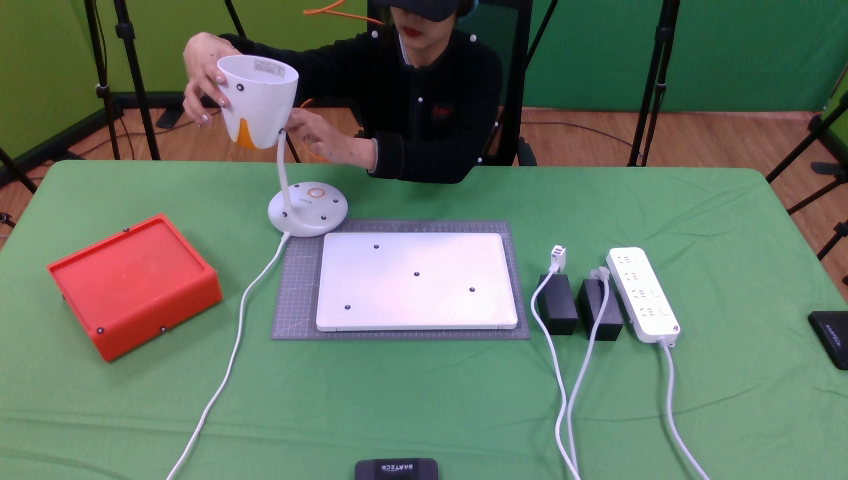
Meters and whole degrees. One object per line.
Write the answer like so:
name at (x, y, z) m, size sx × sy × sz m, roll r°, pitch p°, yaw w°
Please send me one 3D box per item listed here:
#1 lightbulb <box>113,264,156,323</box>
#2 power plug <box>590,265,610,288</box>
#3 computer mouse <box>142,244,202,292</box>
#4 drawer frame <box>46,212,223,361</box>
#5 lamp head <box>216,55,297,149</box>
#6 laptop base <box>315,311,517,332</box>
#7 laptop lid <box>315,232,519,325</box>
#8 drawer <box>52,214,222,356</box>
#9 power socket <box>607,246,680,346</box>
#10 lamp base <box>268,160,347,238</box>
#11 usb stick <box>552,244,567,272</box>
lightbulb at (-0.493, 0.091, 1.045) m, size 0.059 × 0.060 × 0.107 m, roll 9°, pitch 62°, yaw 5°
power plug at (0.318, 0.073, 1.108) m, size 0.035 × 0.053 × 0.072 m, roll 25°, pitch 34°, yaw 13°
computer mouse at (-0.459, 0.045, 1.099) m, size 0.116 × 0.041 × 0.063 m, roll 30°, pitch 52°, yaw 29°
drawer frame at (-0.495, 0.073, 1.049) m, size 0.213 × 0.083 × 0.200 m, roll -33°, pitch 56°, yaw -29°
lamp head at (-0.248, -0.200, 0.894) m, size 0.112 × 0.123 × 0.112 m, roll 10°, pitch 36°, yaw -7°
laptop base at (-0.016, 0.075, 1.125) m, size 0.355 × 0.023 × 0.234 m, roll 0°, pitch 42°, yaw -4°
laptop lid at (-0.015, 0.065, 1.118) m, size 0.357 × 0.013 × 0.240 m, roll 1°, pitch 43°, yaw -3°
drawer at (-0.494, 0.072, 1.053) m, size 0.212 × 0.073 × 0.193 m, roll -33°, pitch 57°, yaw -29°
power socket at (0.403, 0.096, 1.123) m, size 0.072 × 0.033 × 0.225 m, roll -3°, pitch 46°, yaw -5°
lamp base at (-0.239, -0.111, 1.176) m, size 0.160 × 0.181 × 0.178 m, roll 12°, pitch 49°, yaw 10°
usb stick at (0.251, 0.039, 1.124) m, size 0.021 × 0.059 × 0.027 m, roll 14°, pitch 47°, yaw 25°
